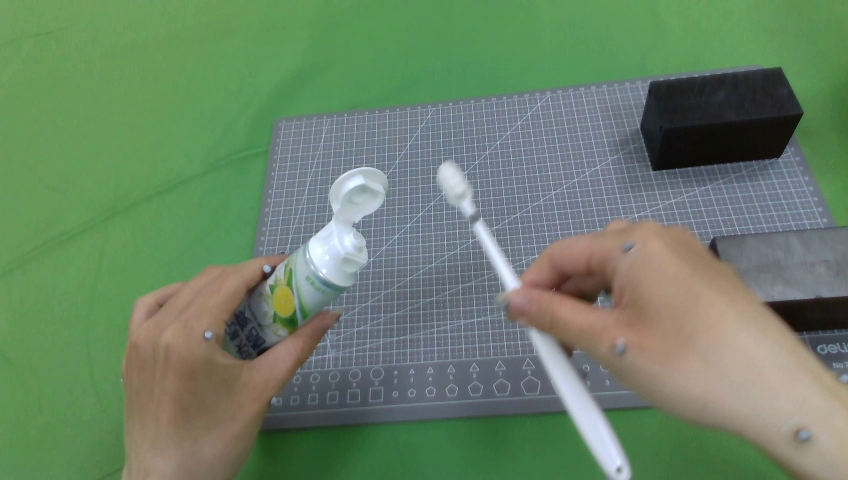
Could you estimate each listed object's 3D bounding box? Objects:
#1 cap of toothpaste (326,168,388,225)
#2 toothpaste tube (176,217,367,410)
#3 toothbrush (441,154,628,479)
[{"bbox_3d":[-0.036,-0.024,0.336,0.037,0.038,0.011,-24,52,-6],"label":"cap of toothpaste"},{"bbox_3d":[-0.094,0.042,0.364,0.165,0.035,0.055,-40,75,25],"label":"toothpaste tube"},{"bbox_3d":[0.053,0.034,0.303,0.014,0.017,0.181,-26,78,-5],"label":"toothbrush"}]
